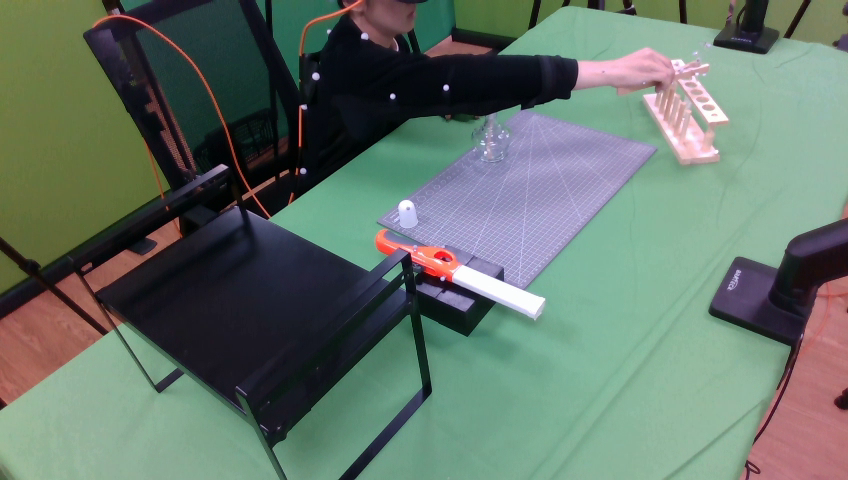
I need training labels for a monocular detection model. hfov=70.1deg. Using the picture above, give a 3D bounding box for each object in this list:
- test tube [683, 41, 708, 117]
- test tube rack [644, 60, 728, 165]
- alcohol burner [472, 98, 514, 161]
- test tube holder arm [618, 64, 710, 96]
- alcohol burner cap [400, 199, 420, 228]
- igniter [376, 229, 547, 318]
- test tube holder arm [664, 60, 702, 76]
[{"bbox_3d":[0.499,-0.294,1.117,0.017,0.151,0.017,-3,42,3],"label":"test tube"},{"bbox_3d":[0.486,-0.246,1.139,0.067,0.085,0.241,-5,41,4],"label":"test tube rack"},{"bbox_3d":[0.127,-0.208,1.123,0.078,0.119,0.077,-5,39,5],"label":"alcohol burner"},{"bbox_3d":[0.430,-0.287,1.083,0.179,0.015,0.013,-17,40,-8],"label":"test tube holder arm"},{"bbox_3d":[-0.025,-0.047,1.014,0.034,0.048,0.033,-4,42,4],"label":"alcohol burner cap"},{"bbox_3d":[0.040,0.041,0.845,0.274,0.025,0.057,22,46,27],"label":"igniter"},{"bbox_3d":[0.469,-0.305,1.096,0.088,0.015,0.010,-26,43,-18],"label":"test tube holder arm"}]
